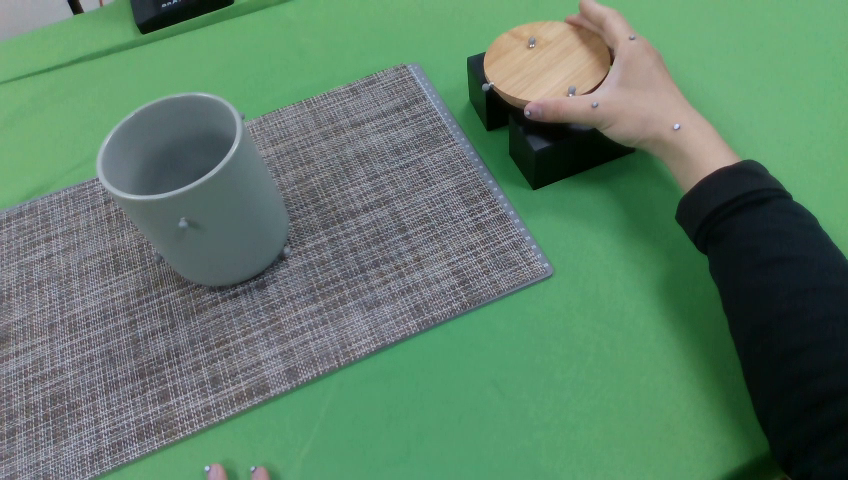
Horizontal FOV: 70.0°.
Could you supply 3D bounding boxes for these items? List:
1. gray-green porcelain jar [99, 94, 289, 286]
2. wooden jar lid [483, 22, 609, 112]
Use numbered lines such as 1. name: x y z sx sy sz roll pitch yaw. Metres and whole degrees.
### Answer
1. gray-green porcelain jar: -0.170 -0.032 0.478 0.106 0.128 0.105 -4 54 6
2. wooden jar lid: 0.106 -0.151 0.532 0.108 0.021 0.107 -4 56 6
